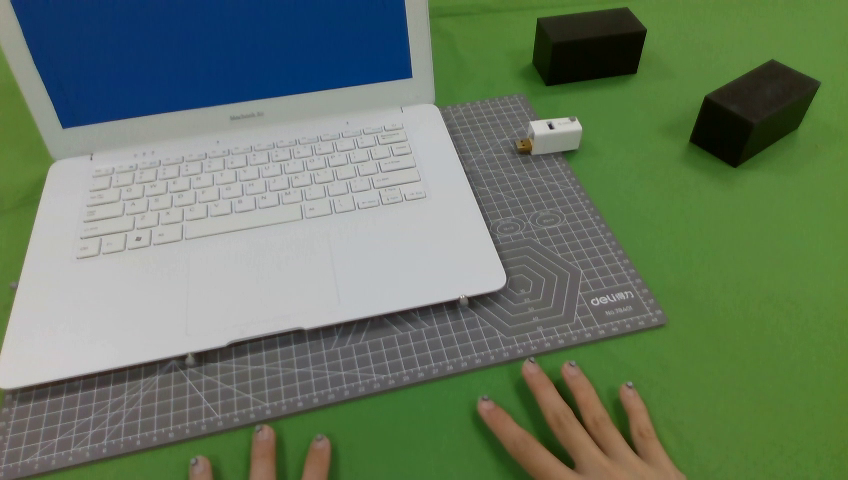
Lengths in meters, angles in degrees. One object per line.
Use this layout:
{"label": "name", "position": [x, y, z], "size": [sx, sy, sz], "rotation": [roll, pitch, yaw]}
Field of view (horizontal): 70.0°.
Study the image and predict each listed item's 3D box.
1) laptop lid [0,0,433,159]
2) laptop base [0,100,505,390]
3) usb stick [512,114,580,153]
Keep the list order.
{"label": "laptop lid", "position": [-0.172, -0.197, 0.505], "size": [0.357, 0.244, 0.013], "rotation": [-12, 34, -7]}
{"label": "laptop base", "position": [-0.135, -0.015, 0.494], "size": [0.355, 0.023, 0.233], "rotation": [-11, 52, -8]}
{"label": "usb stick", "position": [0.109, -0.096, 0.552], "size": [0.059, 0.027, 0.021], "rotation": [-9, 47, -4]}
